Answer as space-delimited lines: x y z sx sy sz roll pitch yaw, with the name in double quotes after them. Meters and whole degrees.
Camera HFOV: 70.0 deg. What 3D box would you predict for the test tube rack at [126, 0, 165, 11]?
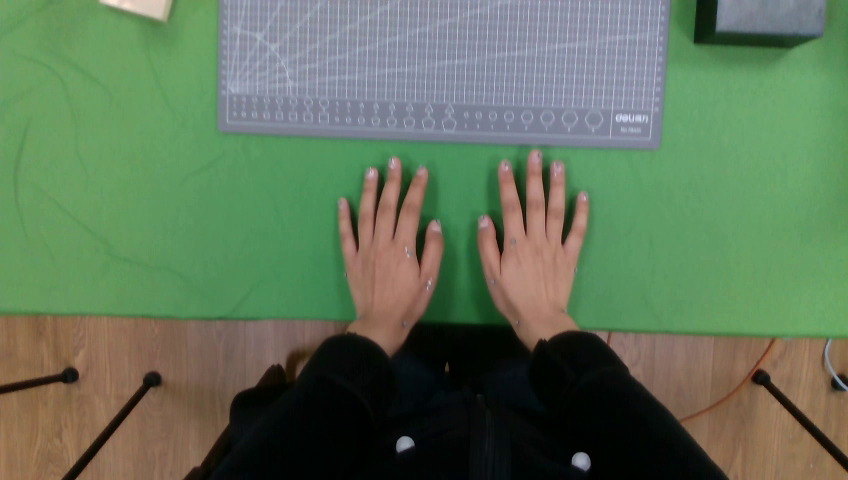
-0.262 -0.351 0.555 0.067 0.085 0.242 16 96 -1 "test tube rack"
